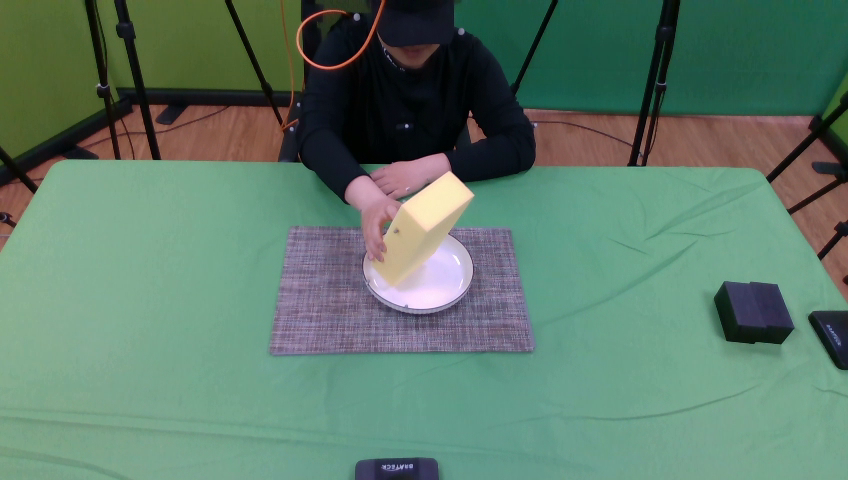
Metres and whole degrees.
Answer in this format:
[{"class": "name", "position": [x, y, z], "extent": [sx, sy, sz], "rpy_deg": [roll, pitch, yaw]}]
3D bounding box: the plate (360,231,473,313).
[{"class": "plate", "position": [-0.014, 0.057, 1.126], "extent": [0.208, 0.039, 0.206], "rpy_deg": [2, 46, -2]}]

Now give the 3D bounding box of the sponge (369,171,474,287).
[{"class": "sponge", "position": [-0.009, -0.014, 1.030], "extent": [0.061, 0.207, 0.118], "rpy_deg": [46, 55, 9]}]
